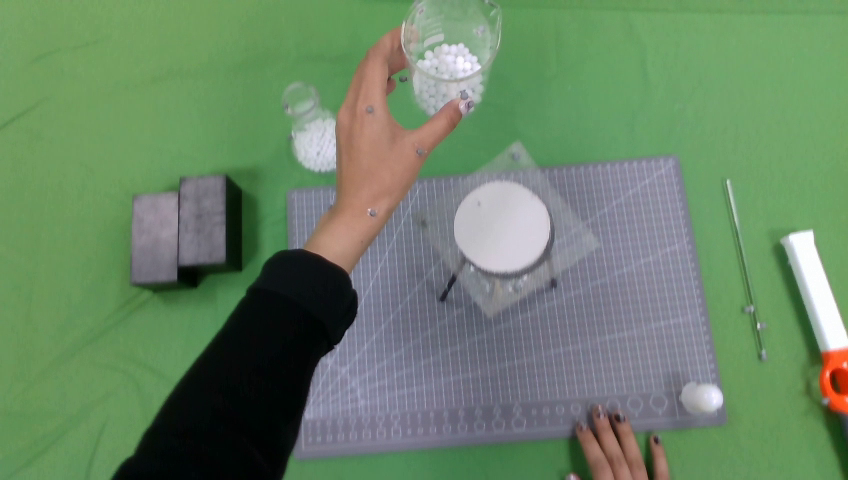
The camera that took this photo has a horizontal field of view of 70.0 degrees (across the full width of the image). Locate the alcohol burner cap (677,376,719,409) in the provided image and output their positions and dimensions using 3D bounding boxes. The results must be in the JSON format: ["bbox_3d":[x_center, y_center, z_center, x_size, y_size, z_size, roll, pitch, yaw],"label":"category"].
[{"bbox_3d":[0.280,0.155,0.615,0.034,0.048,0.033,0,77,2],"label":"alcohol burner cap"}]

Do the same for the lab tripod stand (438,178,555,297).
[{"bbox_3d":[0.072,0.005,0.608,0.148,0.132,0.147,0,79,2],"label":"lab tripod stand"}]

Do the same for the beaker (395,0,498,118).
[{"bbox_3d":[0.019,-0.149,0.494,0.084,0.100,0.074,-34,84,-4],"label":"beaker"}]

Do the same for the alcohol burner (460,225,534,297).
[{"bbox_3d":[0.076,0.017,0.615,0.078,0.119,0.077,0,75,1],"label":"alcohol burner"}]

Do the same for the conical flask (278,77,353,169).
[{"bbox_3d":[-0.122,-0.130,0.653,0.075,0.122,0.075,0,76,2],"label":"conical flask"}]

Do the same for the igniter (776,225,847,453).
[{"bbox_3d":[0.426,0.119,0.629,0.057,0.025,0.275,-9,77,-11],"label":"igniter"}]

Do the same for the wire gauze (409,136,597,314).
[{"bbox_3d":[0.070,-0.015,0.543,0.125,0.011,0.121,-34,80,-5],"label":"wire gauze"}]

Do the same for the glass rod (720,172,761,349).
[{"bbox_3d":[0.347,0.020,0.664,0.008,0.008,0.198,-5,77,0],"label":"glass rod"}]
